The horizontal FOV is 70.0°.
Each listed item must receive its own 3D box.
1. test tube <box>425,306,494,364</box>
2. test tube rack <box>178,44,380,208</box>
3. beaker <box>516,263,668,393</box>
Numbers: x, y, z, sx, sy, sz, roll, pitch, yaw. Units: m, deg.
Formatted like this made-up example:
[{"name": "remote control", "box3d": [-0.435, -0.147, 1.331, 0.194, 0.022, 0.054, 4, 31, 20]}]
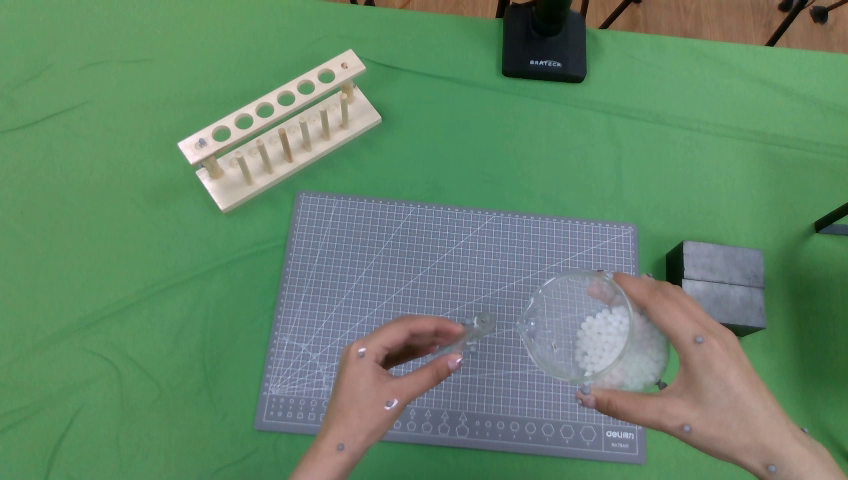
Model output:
[{"name": "test tube", "box3d": [0.025, 0.081, 0.493, 0.017, 0.150, 0.017, 5, 67, -13]}, {"name": "test tube rack", "box3d": [-0.174, -0.144, 0.767, 0.242, 0.085, 0.066, -34, 75, -14]}, {"name": "beaker", "box3d": [0.121, 0.066, 0.425, 0.083, 0.101, 0.073, -4, 69, 36]}]
